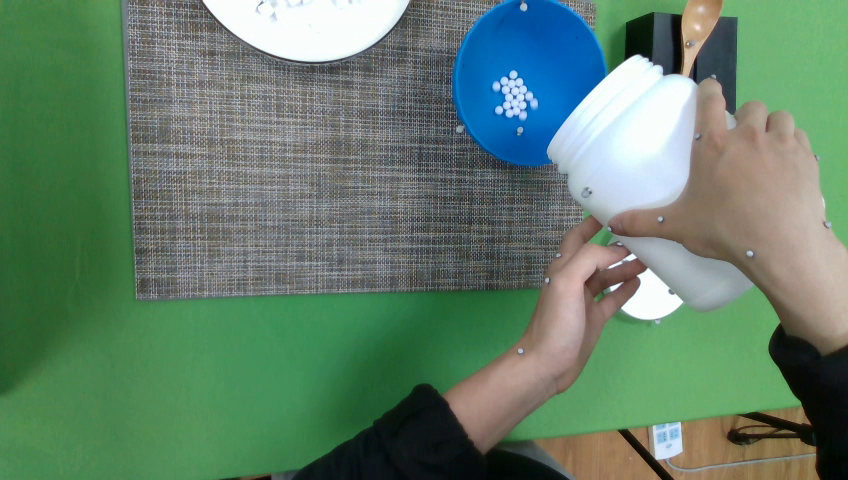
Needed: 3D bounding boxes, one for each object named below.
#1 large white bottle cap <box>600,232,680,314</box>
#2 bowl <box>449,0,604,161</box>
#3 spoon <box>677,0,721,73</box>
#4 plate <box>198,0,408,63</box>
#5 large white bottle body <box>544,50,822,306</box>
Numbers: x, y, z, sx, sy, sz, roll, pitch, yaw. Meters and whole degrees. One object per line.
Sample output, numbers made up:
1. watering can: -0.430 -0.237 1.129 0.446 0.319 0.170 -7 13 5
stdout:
1. large white bottle cap: 0.255 0.028 0.690 0.115 0.018 0.115 -2 99 -16
2. bowl: 0.088 -0.151 0.583 0.152 0.076 0.151 -2 98 -15
3. spoon: 0.256 -0.162 0.615 0.042 0.021 0.194 11 100 -19
4. plate: -0.109 -0.260 0.536 0.210 0.038 0.209 -1 95 -16
5. large white bottle body: 0.201 -0.053 0.494 0.130 0.131 0.184 -43 79 -6
